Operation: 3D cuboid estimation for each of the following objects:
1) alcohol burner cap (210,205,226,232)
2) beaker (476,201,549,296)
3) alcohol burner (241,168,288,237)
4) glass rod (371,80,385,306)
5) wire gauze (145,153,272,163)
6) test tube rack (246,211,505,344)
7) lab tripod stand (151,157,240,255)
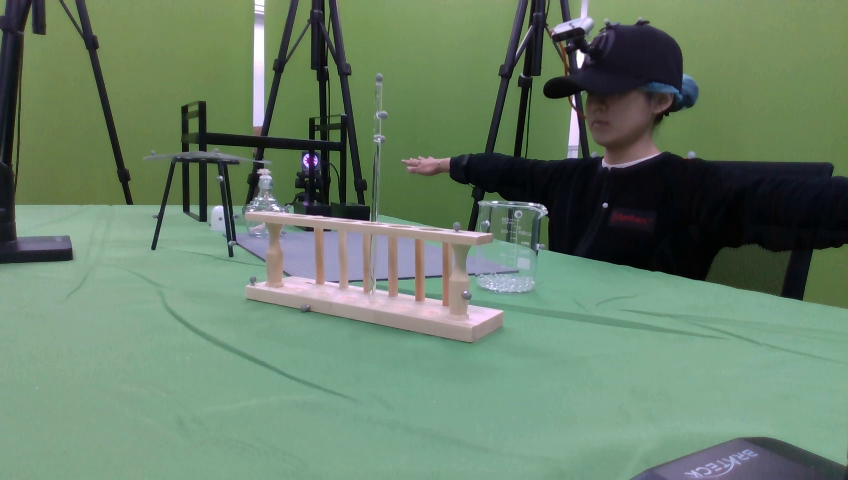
[{"bbox_3d":[-0.376,-0.040,1.107,0.034,0.048,0.034,2,7,0],"label":"alcohol burner cap"},{"bbox_3d":[0.098,0.009,0.681,0.083,0.100,0.074,8,9,32],"label":"beaker"},{"bbox_3d":[-0.272,-0.064,1.036,0.078,0.119,0.078,4,5,0],"label":"alcohol burner"},{"bbox_3d":[-0.040,-0.039,0.530,0.008,0.199,0.008,2,2,0],"label":"glass rod"},{"bbox_3d":[-0.303,-0.117,0.854,0.121,0.011,0.126,7,8,34],"label":"wire gauze"},{"bbox_3d":[-0.049,0.025,0.547,0.241,0.085,0.067,7,8,29],"label":"test tube rack"},{"bbox_3d":[-0.310,-0.052,0.866,0.148,0.131,0.148,2,6,0],"label":"lab tripod stand"}]
